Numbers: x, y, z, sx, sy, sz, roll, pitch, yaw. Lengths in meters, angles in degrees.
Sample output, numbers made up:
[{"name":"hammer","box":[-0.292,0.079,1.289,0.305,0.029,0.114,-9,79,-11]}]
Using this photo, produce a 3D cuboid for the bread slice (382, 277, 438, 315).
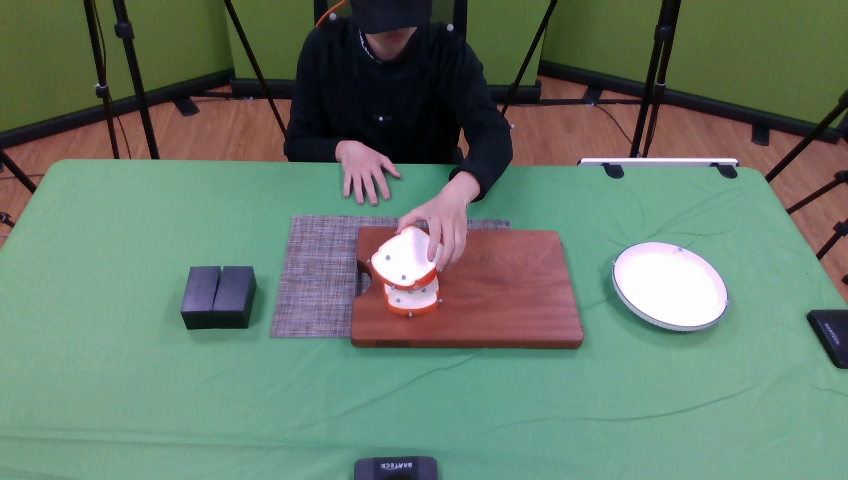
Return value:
[{"name":"bread slice","box":[-0.024,0.079,1.088,0.105,0.019,0.130,-3,44,-6]}]

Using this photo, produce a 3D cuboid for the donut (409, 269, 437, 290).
[{"name":"donut","box":[-0.025,0.047,1.076,0.099,0.048,0.098,4,45,-4]}]

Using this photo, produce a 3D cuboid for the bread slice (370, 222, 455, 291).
[{"name":"bread slice","box":[-0.025,0.033,1.045,0.106,0.018,0.134,30,50,22]}]

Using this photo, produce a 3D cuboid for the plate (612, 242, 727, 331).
[{"name":"plate","box":[0.455,0.090,1.138,0.209,0.038,0.208,3,45,-2]}]
